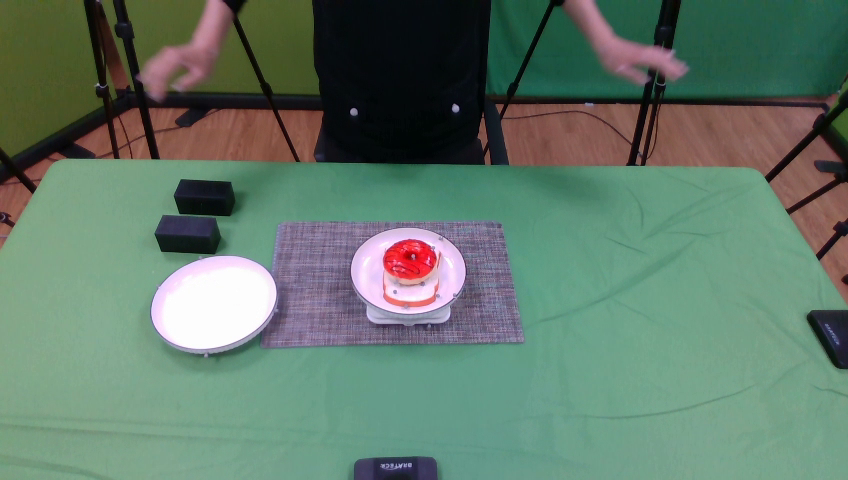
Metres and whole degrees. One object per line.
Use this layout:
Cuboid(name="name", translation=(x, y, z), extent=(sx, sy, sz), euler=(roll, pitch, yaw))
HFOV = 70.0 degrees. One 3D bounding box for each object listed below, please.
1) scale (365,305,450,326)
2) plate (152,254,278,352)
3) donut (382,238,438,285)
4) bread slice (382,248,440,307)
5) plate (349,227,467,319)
Cuboid(name="scale", translation=(-0.032, 0.071, 1.113), extent=(0.149, 0.032, 0.199), euler=(0, 46, -4))
Cuboid(name="plate", translation=(-0.357, 0.111, 1.052), extent=(0.208, 0.039, 0.206), euler=(2, 46, -2))
Cuboid(name="donut", translation=(-0.025, 0.036, 1.064), extent=(0.099, 0.048, 0.098), euler=(0, 44, 1))
Cuboid(name="bread slice", translation=(-0.023, 0.064, 1.077), extent=(0.105, 0.019, 0.130), euler=(2, 46, 0))
Cuboid(name="plate", translation=(-0.029, 0.061, 1.077), extent=(0.209, 0.038, 0.208), euler=(2, 46, -2))
